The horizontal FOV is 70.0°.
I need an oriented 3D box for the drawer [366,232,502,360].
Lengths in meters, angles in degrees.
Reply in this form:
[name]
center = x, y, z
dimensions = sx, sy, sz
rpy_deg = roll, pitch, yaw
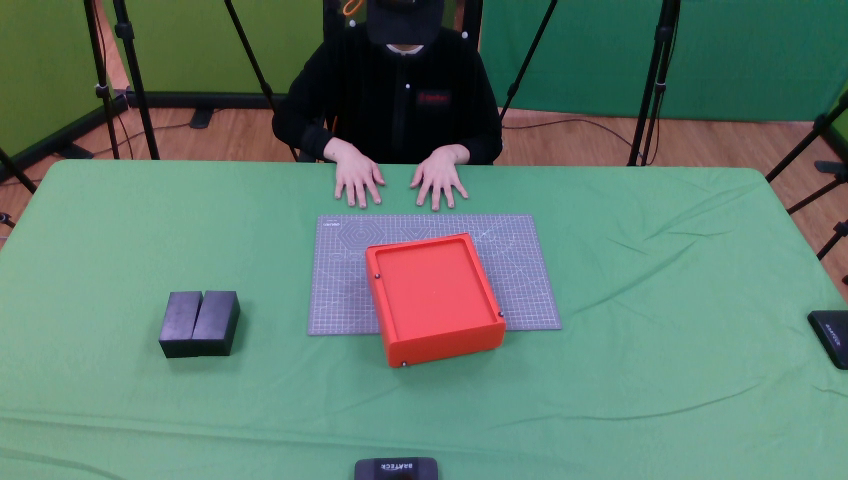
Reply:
[drawer]
center = 0.012, 0.093, 1.064
dimensions = 0.195, 0.073, 0.210
rpy_deg = -8, 48, -12

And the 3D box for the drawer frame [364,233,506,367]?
[drawer frame]
center = 0.013, 0.098, 1.058
dimensions = 0.202, 0.083, 0.212
rpy_deg = -9, 48, -12

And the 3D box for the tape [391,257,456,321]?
[tape]
center = 0.000, 0.086, 1.075
dimensions = 0.117, 0.053, 0.116
rpy_deg = 2, 44, -2
